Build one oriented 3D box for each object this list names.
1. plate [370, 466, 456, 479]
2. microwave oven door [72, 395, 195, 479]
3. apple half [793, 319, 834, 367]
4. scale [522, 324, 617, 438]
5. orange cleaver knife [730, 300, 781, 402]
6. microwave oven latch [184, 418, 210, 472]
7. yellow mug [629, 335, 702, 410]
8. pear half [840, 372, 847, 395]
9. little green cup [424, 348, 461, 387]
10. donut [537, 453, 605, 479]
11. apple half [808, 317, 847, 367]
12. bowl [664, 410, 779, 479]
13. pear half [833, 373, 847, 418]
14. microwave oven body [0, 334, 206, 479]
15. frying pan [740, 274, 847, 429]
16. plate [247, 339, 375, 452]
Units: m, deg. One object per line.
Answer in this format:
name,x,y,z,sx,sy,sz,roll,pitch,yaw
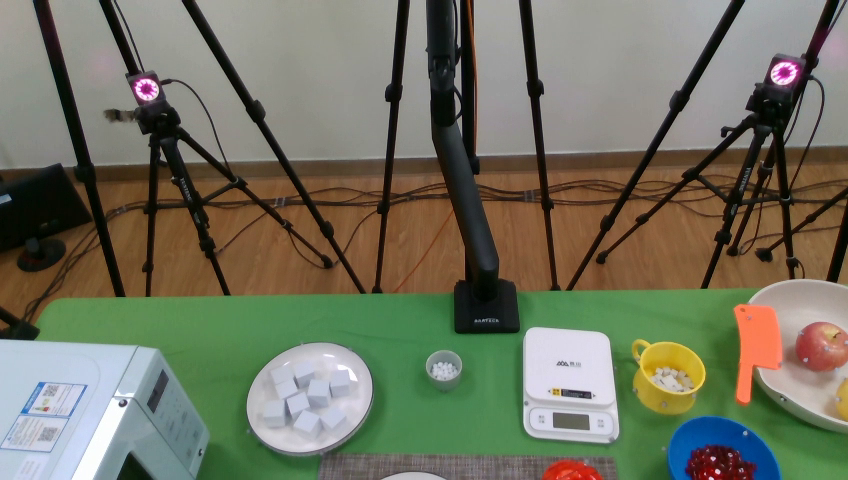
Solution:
plate,-0.018,0.417,0.833,0.209,0.038,0.207,-2,46,2
microwave oven door,-0.382,0.397,0.711,0.039,0.246,0.352,1,45,5
apple half,0.633,0.174,1.002,0.033,0.082,0.080,-5,45,-6
scale,0.239,0.230,1.011,0.148,0.032,0.199,2,46,7
orange cleaver knife,0.531,0.173,0.972,0.077,0.012,0.210,13,48,17
microwave oven latch,-0.356,0.314,0.935,0.030,0.030,0.078,3,46,6
yellow mug,0.386,0.208,0.999,0.100,0.064,0.129,-25,48,-19
pear half,0.694,0.222,0.941,0.070,0.089,0.031,26,54,30
little green cup,0.032,0.218,1.031,0.061,0.039,0.061,-2,45,2
donut,0.212,0.356,0.874,0.099,0.049,0.098,-3,46,4
apple half,0.671,0.170,1.006,0.053,0.075,0.080,-5,42,-6
bowl,0.414,0.330,0.868,0.151,0.077,0.150,-2,46,2
pear half,0.668,0.235,0.917,0.075,0.111,0.056,27,53,32
microwave oven body,-0.524,0.368,0.757,0.326,0.262,0.437,2,46,5
frying pan,0.706,0.239,0.920,0.307,0.104,0.482,-20,39,-14
plate,-0.184,0.258,1.006,0.207,0.039,0.205,-2,45,2
